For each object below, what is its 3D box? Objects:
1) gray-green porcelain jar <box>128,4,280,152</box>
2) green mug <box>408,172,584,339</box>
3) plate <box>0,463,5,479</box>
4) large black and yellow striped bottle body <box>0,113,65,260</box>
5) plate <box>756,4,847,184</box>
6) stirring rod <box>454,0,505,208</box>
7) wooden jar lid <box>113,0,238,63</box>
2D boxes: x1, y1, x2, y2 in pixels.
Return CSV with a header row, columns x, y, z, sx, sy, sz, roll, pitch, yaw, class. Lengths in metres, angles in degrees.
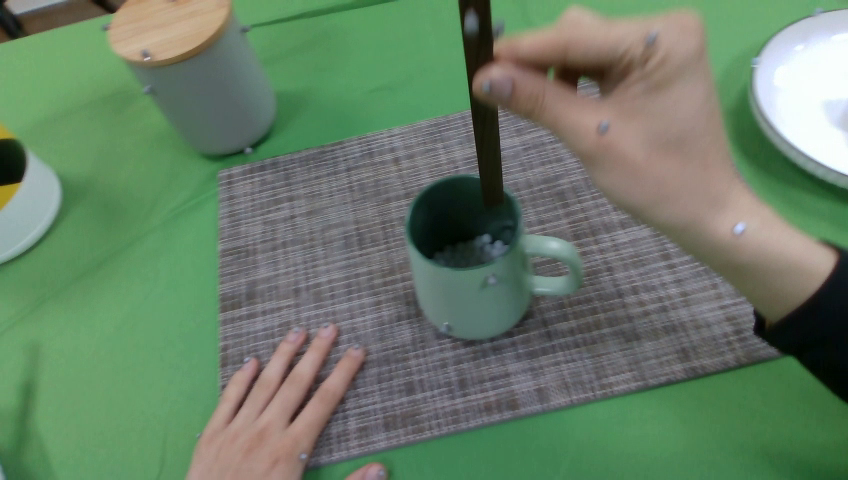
x,y,z,sx,sy,sz,roll,pitch,yaw,class
-0.202,-0.155,0.575,0.106,0.128,0.105,-4,58,7,gray-green porcelain jar
0.051,0.015,0.436,0.125,0.106,0.092,6,59,12,green mug
-0.387,0.225,0.421,0.209,0.038,0.207,-4,58,7,plate
-0.430,-0.075,0.528,0.130,0.186,0.129,-4,58,7,large black and yellow striped bottle body
0.386,-0.116,0.504,0.207,0.039,0.205,-4,58,7,plate
0.031,-0.066,0.314,0.014,0.178,0.005,-14,59,3,stirring rod
-0.212,-0.188,0.523,0.108,0.021,0.107,-4,61,7,wooden jar lid
